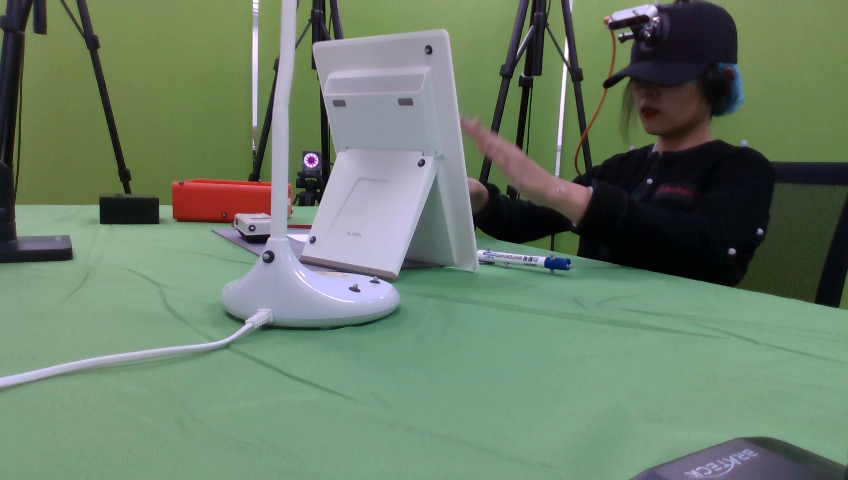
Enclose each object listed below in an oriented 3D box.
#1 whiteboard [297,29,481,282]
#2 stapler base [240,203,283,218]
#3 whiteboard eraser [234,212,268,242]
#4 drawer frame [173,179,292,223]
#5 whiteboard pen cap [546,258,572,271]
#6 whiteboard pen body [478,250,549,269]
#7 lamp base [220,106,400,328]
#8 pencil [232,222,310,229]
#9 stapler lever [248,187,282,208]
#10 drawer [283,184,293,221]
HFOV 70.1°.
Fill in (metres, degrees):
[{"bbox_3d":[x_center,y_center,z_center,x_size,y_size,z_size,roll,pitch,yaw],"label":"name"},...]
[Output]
[{"bbox_3d":[-0.076,-0.082,0.741,0.216,0.305,0.144,9,29,37],"label":"whiteboard"},{"bbox_3d":[-0.349,-0.065,1.309,0.041,0.024,0.131,19,7,12],"label":"stapler base"},{"bbox_3d":[-0.270,-0.021,0.975,0.056,0.042,0.112,0,8,-27],"label":"whiteboard eraser"},{"bbox_3d":[-0.400,-0.086,1.300,0.214,0.082,0.201,1,8,-8],"label":"drawer frame"},{"bbox_3d":[0.176,0.032,0.791,0.033,0.018,0.018,4,7,37],"label":"whiteboard pen cap"},{"bbox_3d":[0.130,0.028,0.827,0.140,0.017,0.017,6,8,38],"label":"whiteboard pen body"},{"bbox_3d":[-0.101,-0.023,0.531,0.160,0.180,0.179,4,10,10],"label":"lamp base"},{"bbox_3d":[-0.261,-0.025,1.141,0.195,0.012,0.012,1,7,-26],"label":"pencil"},{"bbox_3d":[-0.341,-0.092,1.308,0.027,0.040,0.118,19,5,12],"label":"stapler lever"},{"bbox_3d":[-0.396,-0.084,1.301,0.212,0.073,0.194,1,8,-7],"label":"drawer"}]
